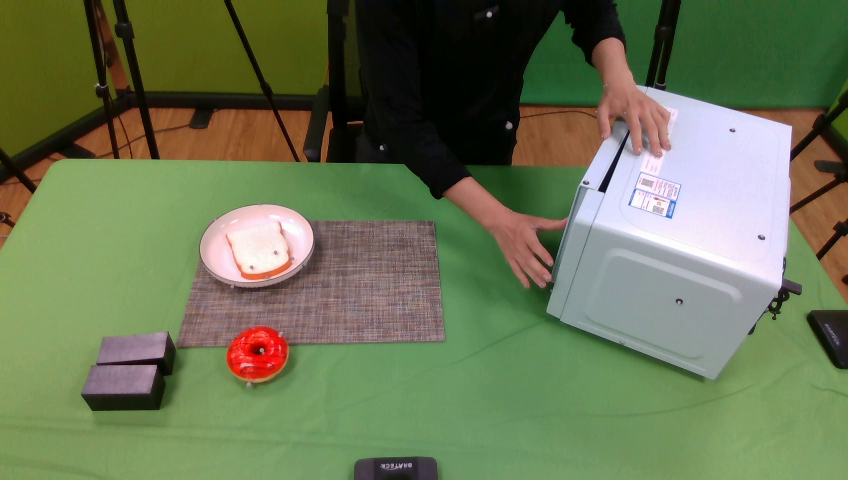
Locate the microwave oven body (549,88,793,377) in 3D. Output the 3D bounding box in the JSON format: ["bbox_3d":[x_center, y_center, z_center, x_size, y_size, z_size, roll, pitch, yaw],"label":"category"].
[{"bbox_3d":[0.457,-0.028,1.088,0.325,0.261,0.440,20,47,16],"label":"microwave oven body"}]

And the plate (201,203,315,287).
[{"bbox_3d":[-0.310,0.013,1.145,0.208,0.039,0.206,2,46,-2],"label":"plate"}]

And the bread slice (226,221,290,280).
[{"bbox_3d":[-0.308,0.019,1.141,0.105,0.019,0.130,-17,49,-18],"label":"bread slice"}]

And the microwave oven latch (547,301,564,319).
[{"bbox_3d":[0.243,0.102,1.081,0.030,0.029,0.079,22,48,18],"label":"microwave oven latch"}]

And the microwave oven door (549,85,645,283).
[{"bbox_3d":[0.335,-0.110,1.151,0.039,0.245,0.355,22,49,17],"label":"microwave oven door"}]

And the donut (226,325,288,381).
[{"bbox_3d":[-0.270,0.182,0.984,0.099,0.048,0.098,5,49,-5],"label":"donut"}]
